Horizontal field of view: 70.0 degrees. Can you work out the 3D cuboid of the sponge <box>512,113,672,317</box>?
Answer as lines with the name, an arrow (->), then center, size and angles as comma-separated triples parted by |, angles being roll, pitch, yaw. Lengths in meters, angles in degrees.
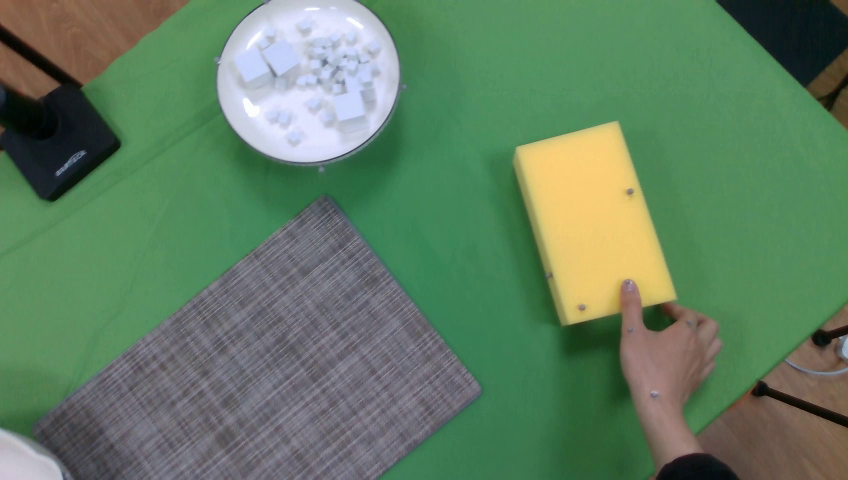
sponge -> 0.184, -0.025, 0.685 | 0.118, 0.061, 0.206 | -15, 82, 2

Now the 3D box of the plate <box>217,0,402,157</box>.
plate -> -0.127, -0.192, 0.690 | 0.207, 0.039, 0.207 | 0, 81, 3

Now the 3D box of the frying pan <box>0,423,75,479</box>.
frying pan -> -0.442, 0.414, 0.643 | 0.307, 0.103, 0.485 | -41, 74, -1
